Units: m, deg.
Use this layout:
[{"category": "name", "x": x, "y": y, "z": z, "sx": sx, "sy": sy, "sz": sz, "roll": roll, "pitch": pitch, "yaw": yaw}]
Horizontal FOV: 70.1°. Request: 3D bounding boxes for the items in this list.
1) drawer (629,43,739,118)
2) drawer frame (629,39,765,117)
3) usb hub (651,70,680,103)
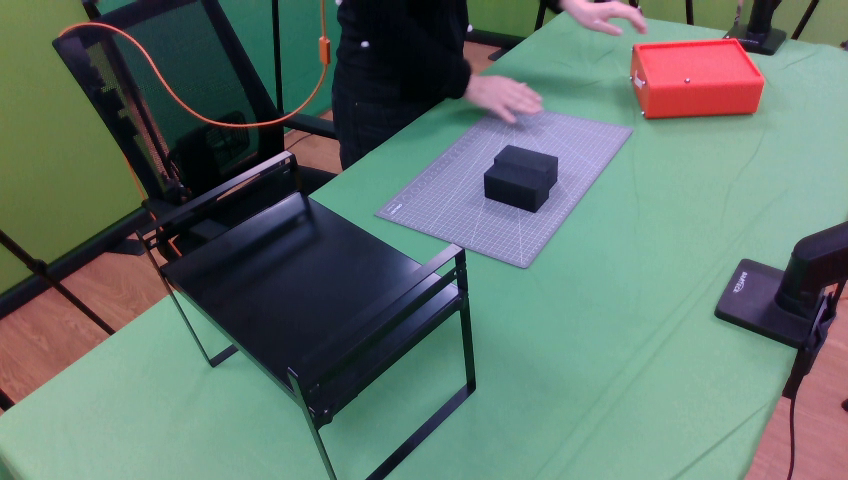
[{"category": "drawer", "x": 0.541, "y": -0.330, "z": 1.234, "sx": 0.211, "sy": 0.073, "sz": 0.193, "roll": -1, "pitch": 40, "yaw": 7}, {"category": "drawer frame", "x": 0.542, "y": -0.332, "z": 1.234, "sx": 0.213, "sy": 0.083, "sz": 0.201, "roll": -1, "pitch": 41, "yaw": 6}, {"category": "usb hub", "x": 0.500, "y": -0.318, "z": 1.250, "sx": 0.049, "sy": 0.025, "sz": 0.125, "roll": 10, "pitch": 38, "yaw": 20}]
